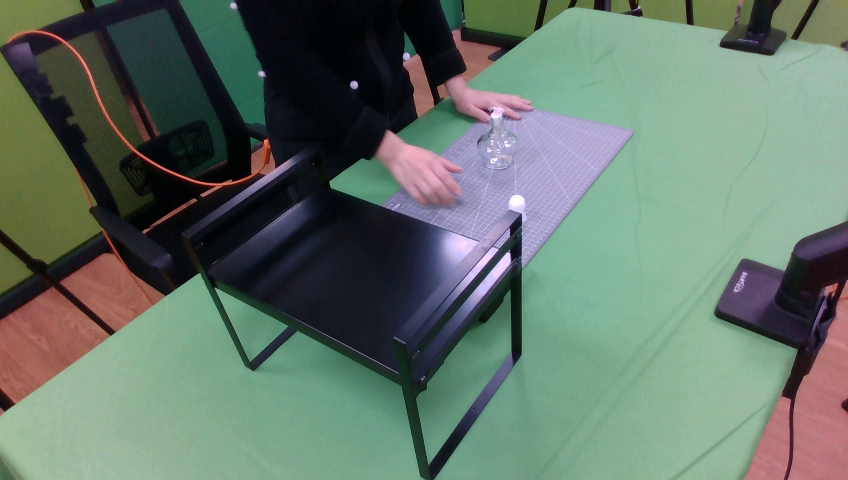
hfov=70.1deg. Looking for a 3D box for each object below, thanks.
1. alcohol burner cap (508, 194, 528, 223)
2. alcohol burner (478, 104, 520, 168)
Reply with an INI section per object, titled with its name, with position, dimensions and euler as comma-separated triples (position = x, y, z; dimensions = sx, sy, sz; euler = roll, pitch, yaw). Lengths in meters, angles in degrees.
[alcohol burner cap]
position = 0.155, -0.054, 0.996
dimensions = 0.034, 0.048, 0.033
euler = -4, 39, 4
[alcohol burner]
position = 0.137, -0.193, 1.106
dimensions = 0.078, 0.119, 0.077
euler = -5, 39, 4
